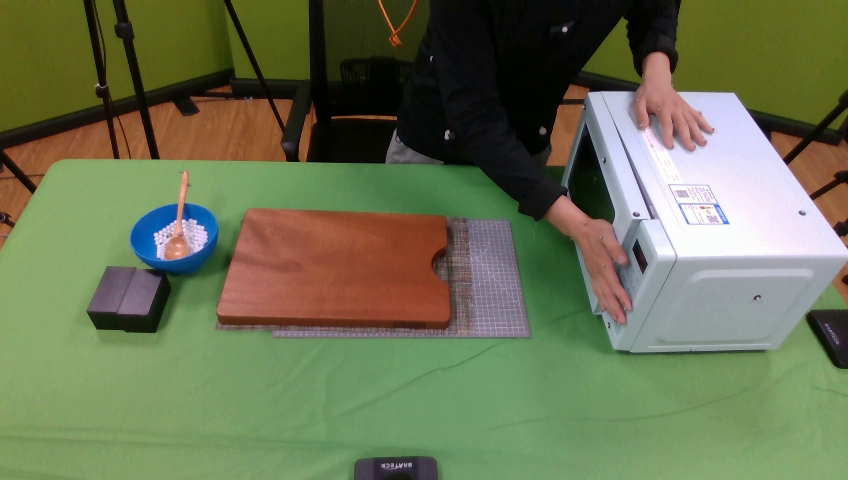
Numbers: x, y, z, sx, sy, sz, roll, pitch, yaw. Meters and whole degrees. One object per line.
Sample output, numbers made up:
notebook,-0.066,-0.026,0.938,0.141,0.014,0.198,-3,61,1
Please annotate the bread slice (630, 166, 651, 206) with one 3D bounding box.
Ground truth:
bread slice,0.460,-0.092,1.138,0.134,0.018,0.106,7,43,-15

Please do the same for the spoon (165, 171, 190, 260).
spoon,-0.452,-0.046,1.129,0.041,0.022,0.193,-1,69,-2

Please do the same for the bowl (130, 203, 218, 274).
bowl,-0.450,0.010,1.116,0.151,0.077,0.150,3,45,-3

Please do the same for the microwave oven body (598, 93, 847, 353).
microwave oven body,0.476,-0.042,1.109,0.326,0.261,0.438,-1,45,-4

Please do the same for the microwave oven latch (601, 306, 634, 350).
microwave oven latch,0.332,0.152,1.045,0.030,0.029,0.078,-1,45,-5

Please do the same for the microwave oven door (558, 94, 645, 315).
microwave oven door,0.319,-0.074,1.123,0.039,0.245,0.353,2,46,-3

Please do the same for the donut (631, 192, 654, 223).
donut,0.443,-0.062,1.171,0.099,0.048,0.098,-6,31,4

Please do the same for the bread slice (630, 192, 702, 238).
bread slice,0.476,-0.050,1.192,0.131,0.019,0.104,13,45,12
